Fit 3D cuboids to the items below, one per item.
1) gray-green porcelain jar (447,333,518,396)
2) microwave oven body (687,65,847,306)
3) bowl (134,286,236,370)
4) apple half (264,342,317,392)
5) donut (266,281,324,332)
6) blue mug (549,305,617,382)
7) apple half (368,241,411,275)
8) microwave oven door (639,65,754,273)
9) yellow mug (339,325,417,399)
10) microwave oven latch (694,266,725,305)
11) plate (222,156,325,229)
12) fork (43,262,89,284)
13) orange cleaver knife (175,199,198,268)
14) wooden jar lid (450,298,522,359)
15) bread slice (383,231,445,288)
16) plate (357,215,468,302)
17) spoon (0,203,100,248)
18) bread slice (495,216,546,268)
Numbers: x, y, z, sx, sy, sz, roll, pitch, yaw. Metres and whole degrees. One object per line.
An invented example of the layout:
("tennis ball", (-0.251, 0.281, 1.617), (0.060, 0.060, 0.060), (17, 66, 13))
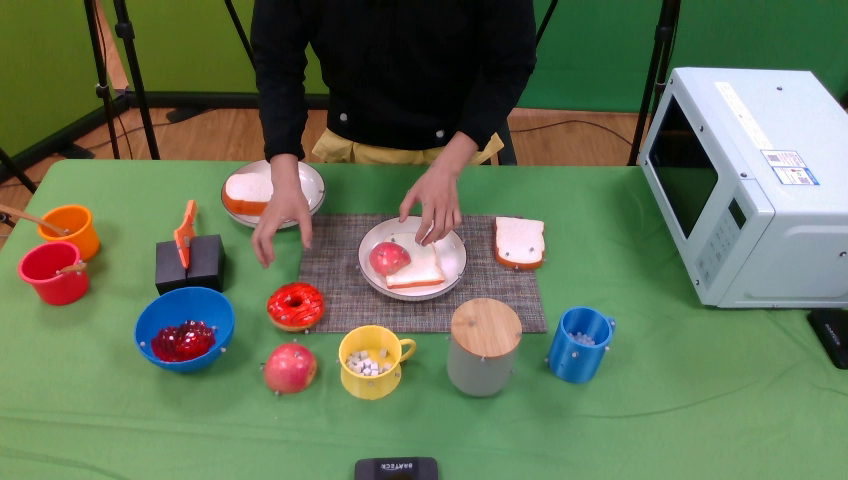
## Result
("gray-green porcelain jar", (0.091, 0.178, 0.960), (0.106, 0.127, 0.105), (2, 46, -2))
("microwave oven body", (0.669, -0.111, 1.176), (0.326, 0.261, 0.439), (0, 46, -3))
("bowl", (-0.377, 0.155, 0.981), (0.151, 0.077, 0.150), (2, 46, -2))
("apple half", (-0.214, 0.198, 0.970), (0.074, 0.053, 0.080), (19, 48, 10))
("donut", (-0.222, 0.114, 1.049), (0.099, 0.048, 0.098), (2, 46, -2))
("blue mug", (0.269, 0.166, 0.998), (0.116, 0.106, 0.082), (-19, 51, -21))
("apple half", (-0.067, 0.024, 1.121), (0.081, 0.033, 0.081), (1, 47, -1))
("microwave oven door", (0.522, -0.147, 1.193), (0.039, 0.245, 0.353), (0, 47, -3))
("yellow mug", (-0.072, 0.190, 0.978), (0.131, 0.064, 0.099), (-17, 50, -20))
("microwave oven latch", (0.523, 0.082, 1.115), (0.030, 0.029, 0.078), (3, 46, 0))
("plate", (-0.308, -0.095, 1.251), (0.209, 0.038, 0.208), (2, 47, -2))
("fork", (-0.599, 0.053, 1.014), (0.207, 0.019, 0.028), (-14, 30, 45))
("orange cleaver knife", (-0.438, -0.017, 1.138), (0.012, 0.077, 0.210), (-14, 27, -7))
("wooden jar lid", (0.093, 0.135, 0.914), (0.108, 0.021, 0.107), (3, 48, -3))
("bread slice", (-0.028, 0.035, 1.144), (0.107, 0.018, 0.133), (-7, 46, -11))
("plate", (-0.022, 0.037, 1.141), (0.208, 0.039, 0.206), (2, 46, -2))
("spoon", (-0.683, -0.031, 1.088), (0.195, 0.021, 0.041), (33, 33, -38))
("bread slice", (0.194, 0.002, 1.204), (0.105, 0.019, 0.131), (6, 45, 2))
